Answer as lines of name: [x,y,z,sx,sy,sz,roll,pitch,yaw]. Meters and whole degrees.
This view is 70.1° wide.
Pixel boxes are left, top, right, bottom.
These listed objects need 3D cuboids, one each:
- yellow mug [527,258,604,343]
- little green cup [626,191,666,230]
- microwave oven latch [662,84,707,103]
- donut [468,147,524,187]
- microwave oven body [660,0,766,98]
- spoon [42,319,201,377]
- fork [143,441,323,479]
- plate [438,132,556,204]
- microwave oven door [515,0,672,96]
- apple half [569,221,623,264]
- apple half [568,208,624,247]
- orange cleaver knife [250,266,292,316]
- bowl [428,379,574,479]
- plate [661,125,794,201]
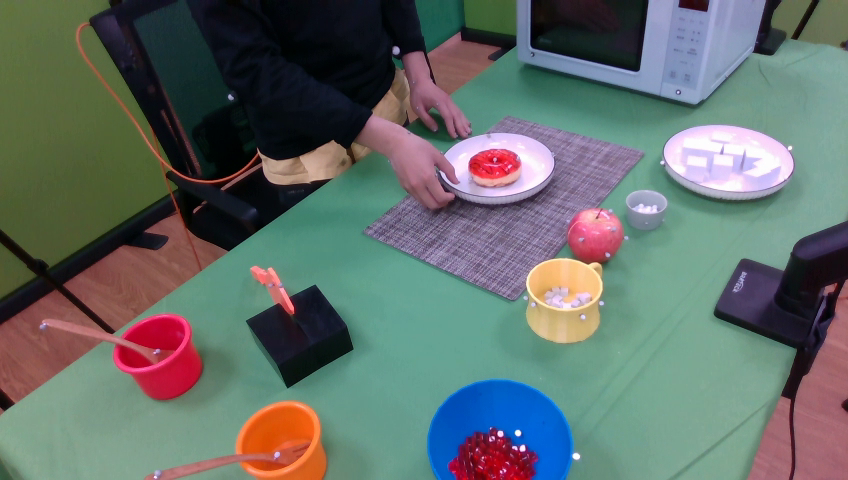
yellow mug: [0.201,0.073,0.825,0.131,0.064,0.099,-32,46,-27]
little green cup: [0.352,-0.046,0.963,0.061,0.039,0.061,-4,40,4]
microwave oven latch: [0.517,-0.296,1.204,0.078,0.029,0.030,27,52,35]
donut: [0.128,-0.132,1.075,0.099,0.048,0.098,-5,38,4]
microwave oven body: [0.472,-0.513,1.317,0.438,0.261,0.327,26,51,34]
spoon: [-0.385,0.135,0.779,0.195,0.021,0.041,29,37,-26]
fork: [-0.189,0.231,0.631,0.028,0.018,0.209,36,13,37]
plate: [0.130,-0.125,1.084,0.209,0.038,0.208,-4,40,4]
microwave oven door: [0.343,-0.454,1.259,0.353,0.245,0.039,26,51,33]
apple half: [0.251,0.010,0.884,0.081,0.081,0.032,3,37,12]
apple half: [0.259,-0.014,0.914,0.080,0.075,0.053,0,36,15]
orange cleaver knife: [-0.221,0.071,0.873,0.012,0.077,0.210,-25,11,-21]
bowl: [0.082,0.233,0.644,0.151,0.077,0.150,-4,39,4]
plate: [0.513,-0.128,1.035,0.207,0.039,0.206,-4,40,4]
